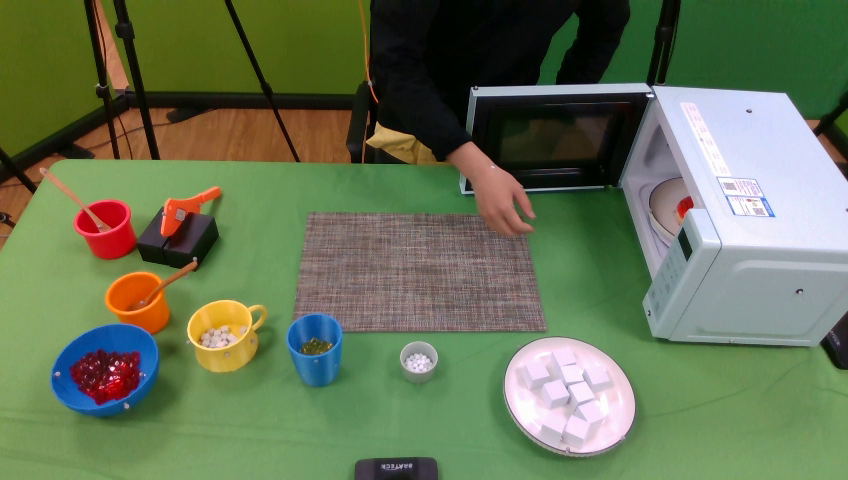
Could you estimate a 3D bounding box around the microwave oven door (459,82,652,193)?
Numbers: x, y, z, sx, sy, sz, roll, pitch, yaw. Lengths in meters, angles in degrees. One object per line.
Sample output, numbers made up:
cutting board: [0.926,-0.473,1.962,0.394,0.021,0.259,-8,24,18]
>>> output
microwave oven door: [0.259,-0.206,1.237,0.356,0.245,0.039,-3,46,-7]

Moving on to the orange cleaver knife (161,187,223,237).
orange cleaver knife: [-0.448,-0.059,1.181,0.012,0.077,0.211,13,17,6]

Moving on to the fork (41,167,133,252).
fork: [-0.624,-0.055,1.121,0.208,0.018,0.028,49,52,-15]

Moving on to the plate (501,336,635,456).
plate: [0.225,0.248,0.963,0.208,0.039,0.206,2,46,-2]

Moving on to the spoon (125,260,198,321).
spoon: [-0.434,0.083,0.999,0.022,0.194,0.041,35,34,-34]

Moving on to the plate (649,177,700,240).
plate: [0.542,-0.044,1.181,0.209,0.038,0.208,2,46,-2]

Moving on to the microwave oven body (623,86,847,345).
microwave oven body: [0.567,-0.053,1.118,0.326,0.261,0.439,2,45,-1]

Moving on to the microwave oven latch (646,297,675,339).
microwave oven latch: [0.412,0.134,1.061,0.030,0.029,0.078,4,45,1]

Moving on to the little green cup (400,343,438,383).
little green cup: [-0.010,0.202,0.991,0.061,0.039,0.061,2,47,-2]

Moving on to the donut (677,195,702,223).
donut: [0.539,-0.048,1.170,0.099,0.048,0.098,3,45,-3]

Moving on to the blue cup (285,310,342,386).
blue cup: [-0.169,0.179,0.958,0.093,0.101,0.092,1,44,-1]

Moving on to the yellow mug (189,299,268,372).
yellow mug: [-0.316,0.148,1.002,0.131,0.064,0.099,-32,56,-31]

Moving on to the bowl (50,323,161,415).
bowl: [-0.472,0.209,0.924,0.151,0.077,0.150,2,45,-2]
